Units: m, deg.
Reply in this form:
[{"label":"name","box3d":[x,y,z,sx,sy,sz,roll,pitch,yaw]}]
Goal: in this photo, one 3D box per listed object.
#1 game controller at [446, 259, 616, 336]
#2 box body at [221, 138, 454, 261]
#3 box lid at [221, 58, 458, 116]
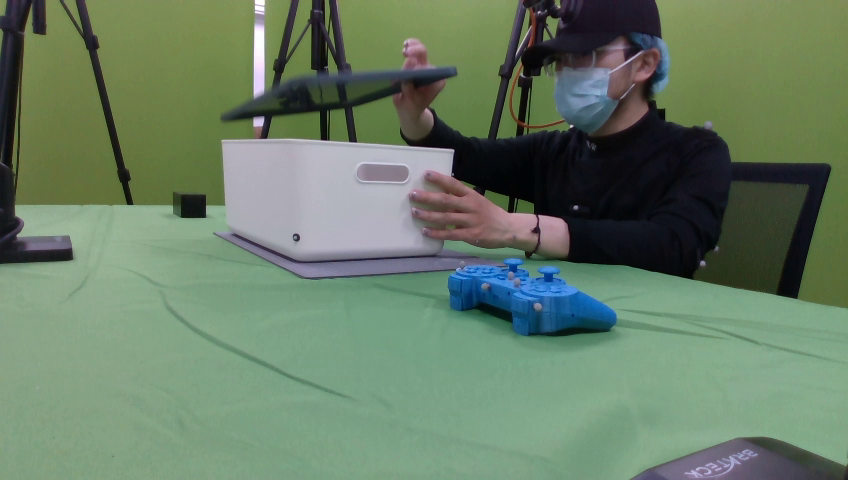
[{"label":"game controller","box3d":[0.091,0.048,0.562,0.097,0.051,0.154,-7,10,-32]},{"label":"box body","box3d":[-0.152,-0.074,0.963,0.255,0.160,0.362,-3,9,-33]},{"label":"box lid","box3d":[-0.146,-0.233,0.943,0.264,0.015,0.369,-14,9,-32]}]
